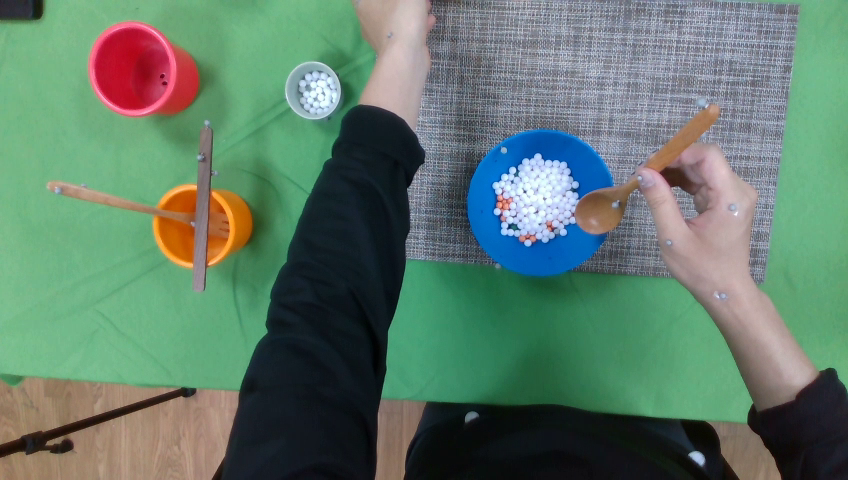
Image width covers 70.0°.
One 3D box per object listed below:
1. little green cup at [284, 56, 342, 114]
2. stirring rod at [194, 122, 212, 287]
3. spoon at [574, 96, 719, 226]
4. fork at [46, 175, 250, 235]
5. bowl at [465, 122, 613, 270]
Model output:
[{"bbox_3d":[-0.121,-0.170,0.674,0.061,0.038,0.061,1,98,5],"label":"little green cup"},{"bbox_3d":[-0.234,-0.036,0.643,0.014,0.006,0.176,6,98,6],"label":"stirring rod"},{"bbox_3d":[0.174,-0.056,0.492,0.041,0.194,0.021,41,69,4],"label":"spoon"},{"bbox_3d":[-0.287,-0.037,0.650,0.209,0.018,0.028,15,104,-41],"label":"fork"},{"bbox_3d":[0.120,-0.048,0.649,0.151,0.076,0.151,1,98,5],"label":"bowl"}]
